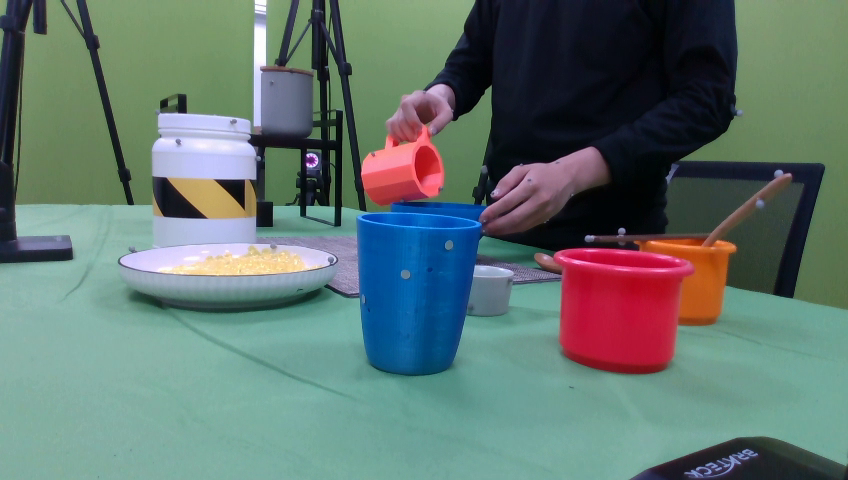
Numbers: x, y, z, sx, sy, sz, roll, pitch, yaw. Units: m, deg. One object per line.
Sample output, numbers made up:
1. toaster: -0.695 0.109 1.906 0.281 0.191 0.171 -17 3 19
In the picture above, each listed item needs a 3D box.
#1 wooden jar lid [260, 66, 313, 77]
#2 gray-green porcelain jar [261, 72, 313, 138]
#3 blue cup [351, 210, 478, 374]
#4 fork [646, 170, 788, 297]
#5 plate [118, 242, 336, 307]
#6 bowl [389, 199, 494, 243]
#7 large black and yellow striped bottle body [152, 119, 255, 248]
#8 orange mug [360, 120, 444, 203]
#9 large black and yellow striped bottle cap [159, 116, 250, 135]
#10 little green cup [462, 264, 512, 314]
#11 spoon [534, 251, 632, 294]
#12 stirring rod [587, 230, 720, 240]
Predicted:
1. wooden jar lid: -0.282 -0.339 1.244 0.108 0.020 0.108 5 8 0
2. gray-green porcelain jar: -0.284 -0.276 1.253 0.106 0.126 0.106 2 8 0
3. blue cup: -0.009 0.034 0.414 0.093 0.100 0.092 4 8 0
4. fork: 0.256 0.004 0.543 0.028 0.018 0.207 3 -36 -9
5. plate: -0.194 0.033 0.615 0.209 0.038 0.209 2 7 0
6. bowl: 0.023 -0.015 0.872 0.151 0.077 0.151 3 7 0
7. large black and yellow striped bottle body: -0.296 -0.070 0.819 0.131 0.184 0.130 2 7 0
8. orange mug: -0.030 -0.121 0.922 0.100 0.126 0.084 -1 -18 36
9. large black and yellow striped bottle cap: -0.292 -0.153 0.810 0.115 0.019 0.115 3 9 0
10. little green cup: 0.053 0.047 0.580 0.061 0.038 0.061 3 8 0
11. spoon: 0.193 0.038 0.753 0.042 0.021 0.193 15 2 -21
12. stirring rod: 0.227 -0.005 0.586 0.177 0.006 0.014 -2 8 -29
